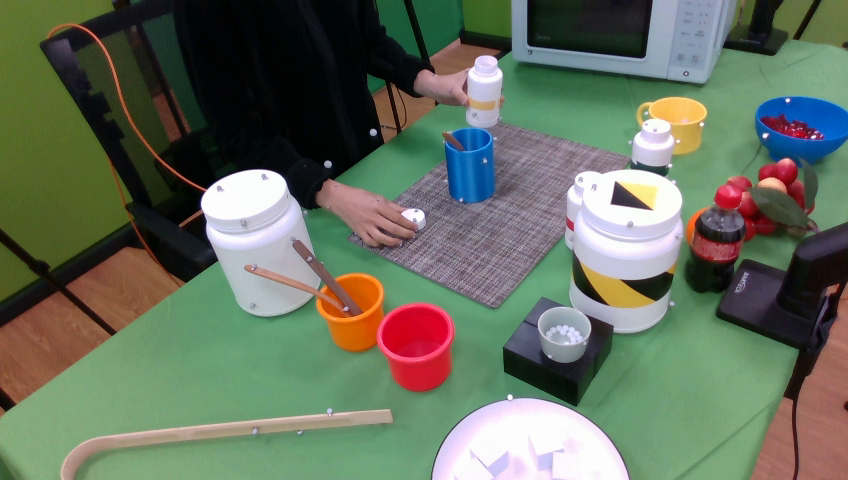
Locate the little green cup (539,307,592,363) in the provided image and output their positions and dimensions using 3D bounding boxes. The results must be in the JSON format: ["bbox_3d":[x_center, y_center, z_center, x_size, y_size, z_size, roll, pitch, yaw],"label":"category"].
[{"bbox_3d":[0.167,0.114,0.721,0.061,0.039,0.061,-4,43,4],"label":"little green cup"}]

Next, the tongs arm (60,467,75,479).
[{"bbox_3d":[-0.239,0.301,0.648,0.386,0.028,0.028,6,49,16],"label":"tongs arm"}]

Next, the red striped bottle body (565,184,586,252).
[{"bbox_3d":[0.247,-0.041,0.910,0.063,0.120,0.062,-3,39,3],"label":"red striped bottle body"}]

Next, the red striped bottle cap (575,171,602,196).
[{"bbox_3d":[0.242,-0.082,0.876,0.044,0.018,0.044,-5,44,5],"label":"red striped bottle cap"}]

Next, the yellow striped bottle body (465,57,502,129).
[{"bbox_3d":[0.108,-0.267,1.094,0.063,0.120,0.062,0,45,0],"label":"yellow striped bottle body"}]

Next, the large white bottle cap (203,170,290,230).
[{"bbox_3d":[-0.241,-0.057,0.822,0.115,0.018,0.114,-4,40,4],"label":"large white bottle cap"}]

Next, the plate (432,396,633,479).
[{"bbox_3d":[0.112,0.261,0.634,0.209,0.038,0.208,-5,40,4],"label":"plate"}]

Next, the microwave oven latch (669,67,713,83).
[{"bbox_3d":[0.556,-0.349,1.261,0.078,0.029,0.030,16,46,27],"label":"microwave oven latch"}]

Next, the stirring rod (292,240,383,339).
[{"bbox_3d":[-0.118,0.068,0.826,0.176,0.006,0.014,49,60,-4],"label":"stirring rod"}]

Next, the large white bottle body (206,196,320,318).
[{"bbox_3d":[-0.233,0.008,0.877,0.130,0.185,0.130,-4,40,4],"label":"large white bottle body"}]

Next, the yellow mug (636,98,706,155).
[{"bbox_3d":[0.453,-0.217,1.128,0.100,0.064,0.129,-34,46,-27],"label":"yellow mug"}]

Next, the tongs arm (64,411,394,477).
[{"bbox_3d":[-0.228,0.241,0.715,0.385,0.026,0.050,-5,43,4],"label":"tongs arm"}]

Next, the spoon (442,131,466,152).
[{"bbox_3d":[0.062,-0.144,1.000,0.041,0.195,0.021,11,79,23],"label":"spoon"}]

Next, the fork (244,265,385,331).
[{"bbox_3d":[-0.142,0.078,0.806,0.209,0.018,0.028,30,32,-23],"label":"fork"}]

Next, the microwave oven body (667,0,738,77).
[{"bbox_3d":[0.462,-0.552,1.369,0.439,0.261,0.326,15,45,26],"label":"microwave oven body"}]

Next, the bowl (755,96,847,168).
[{"bbox_3d":[0.645,-0.177,1.041,0.151,0.077,0.150,-5,40,4],"label":"bowl"}]

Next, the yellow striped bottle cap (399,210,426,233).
[{"bbox_3d":[-0.019,-0.032,1.017,0.044,0.019,0.044,-3,40,3],"label":"yellow striped bottle cap"}]

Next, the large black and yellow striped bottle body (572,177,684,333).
[{"bbox_3d":[0.262,0.017,0.788,0.131,0.185,0.130,-5,40,4],"label":"large black and yellow striped bottle body"}]

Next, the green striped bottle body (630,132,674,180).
[{"bbox_3d":[0.376,-0.135,1.001,0.063,0.120,0.063,-5,40,5],"label":"green striped bottle body"}]

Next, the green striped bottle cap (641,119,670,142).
[{"bbox_3d":[0.371,-0.175,0.968,0.044,0.020,0.044,-6,42,6],"label":"green striped bottle cap"}]

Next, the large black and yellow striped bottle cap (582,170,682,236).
[{"bbox_3d":[0.252,-0.048,0.735,0.115,0.019,0.114,-3,40,3],"label":"large black and yellow striped bottle cap"}]

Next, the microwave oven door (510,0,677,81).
[{"bbox_3d":[0.353,-0.478,1.290,0.353,0.245,0.039,15,45,25],"label":"microwave oven door"}]

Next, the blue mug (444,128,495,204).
[{"bbox_3d":[0.081,-0.139,1.058,0.082,0.106,0.116,-4,40,4],"label":"blue mug"}]
